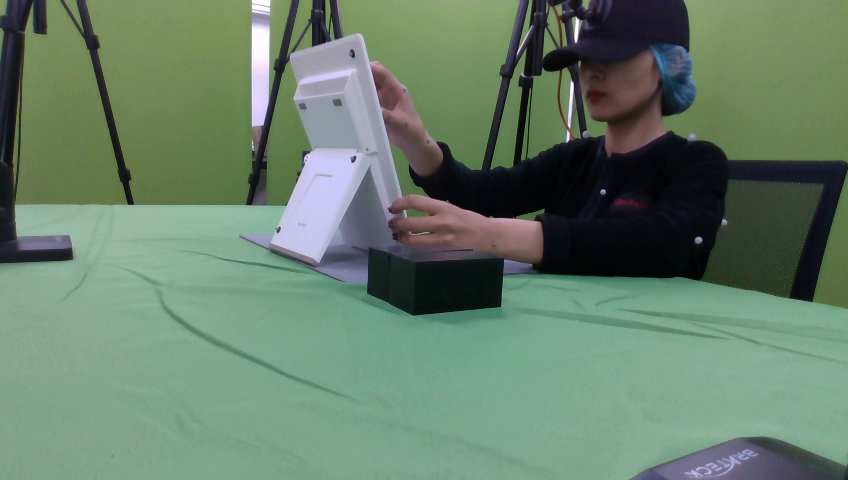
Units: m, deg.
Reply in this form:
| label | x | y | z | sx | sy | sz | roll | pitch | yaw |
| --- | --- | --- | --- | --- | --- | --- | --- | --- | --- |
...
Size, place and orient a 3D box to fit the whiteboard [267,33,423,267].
| label | x | y | z | sx | sy | sz | roll | pitch | yaw |
| --- | --- | --- | --- | --- | --- | --- | --- | --- | --- |
| whiteboard | -0.153 | -0.097 | 0.818 | 0.144 | 0.305 | 0.216 | -25 | 20 | -28 |

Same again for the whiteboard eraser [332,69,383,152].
| label | x | y | z | sx | sy | sz | roll | pitch | yaw |
| --- | --- | --- | --- | --- | --- | --- | --- | --- | --- |
| whiteboard eraser | -0.094 | -0.179 | 0.837 | 0.042 | 0.113 | 0.055 | -26 | 26 | -31 |
